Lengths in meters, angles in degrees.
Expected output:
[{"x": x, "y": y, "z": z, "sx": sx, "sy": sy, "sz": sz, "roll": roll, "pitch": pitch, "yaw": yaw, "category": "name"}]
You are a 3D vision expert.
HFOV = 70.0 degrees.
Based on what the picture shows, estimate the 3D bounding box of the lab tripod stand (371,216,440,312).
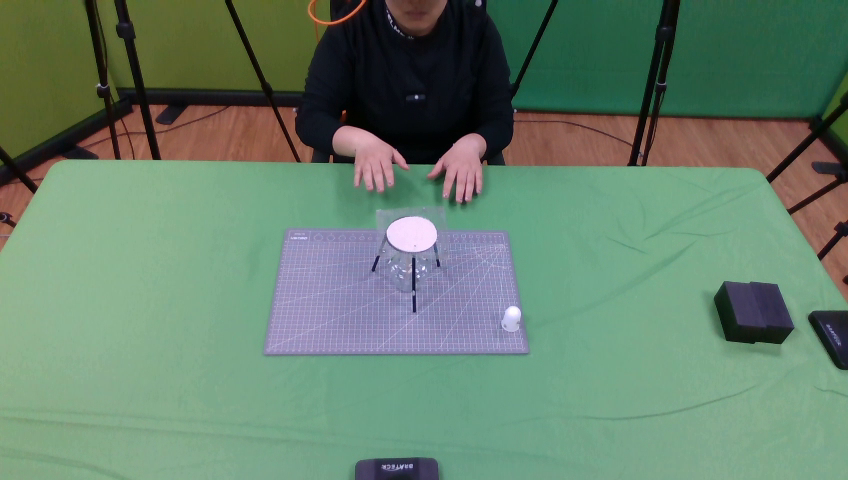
[{"x": -0.029, "y": 0.033, "z": 1.084, "sx": 0.148, "sy": 0.132, "sz": 0.147, "roll": 1, "pitch": 47, "yaw": -1, "category": "lab tripod stand"}]

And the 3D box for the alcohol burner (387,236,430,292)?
[{"x": -0.028, "y": 0.038, "z": 1.093, "sx": 0.078, "sy": 0.120, "sz": 0.077, "roll": 1, "pitch": 46, "yaw": -1, "category": "alcohol burner"}]

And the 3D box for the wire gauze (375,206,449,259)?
[{"x": -0.023, "y": -0.014, "z": 1.035, "sx": 0.125, "sy": 0.011, "sz": 0.120, "roll": -1, "pitch": 46, "yaw": -3, "category": "wire gauze"}]

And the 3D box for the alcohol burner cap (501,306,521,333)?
[{"x": 0.155, "y": 0.137, "z": 1.061, "sx": 0.034, "sy": 0.048, "sz": 0.033, "roll": 2, "pitch": 45, "yaw": -1, "category": "alcohol burner cap"}]
